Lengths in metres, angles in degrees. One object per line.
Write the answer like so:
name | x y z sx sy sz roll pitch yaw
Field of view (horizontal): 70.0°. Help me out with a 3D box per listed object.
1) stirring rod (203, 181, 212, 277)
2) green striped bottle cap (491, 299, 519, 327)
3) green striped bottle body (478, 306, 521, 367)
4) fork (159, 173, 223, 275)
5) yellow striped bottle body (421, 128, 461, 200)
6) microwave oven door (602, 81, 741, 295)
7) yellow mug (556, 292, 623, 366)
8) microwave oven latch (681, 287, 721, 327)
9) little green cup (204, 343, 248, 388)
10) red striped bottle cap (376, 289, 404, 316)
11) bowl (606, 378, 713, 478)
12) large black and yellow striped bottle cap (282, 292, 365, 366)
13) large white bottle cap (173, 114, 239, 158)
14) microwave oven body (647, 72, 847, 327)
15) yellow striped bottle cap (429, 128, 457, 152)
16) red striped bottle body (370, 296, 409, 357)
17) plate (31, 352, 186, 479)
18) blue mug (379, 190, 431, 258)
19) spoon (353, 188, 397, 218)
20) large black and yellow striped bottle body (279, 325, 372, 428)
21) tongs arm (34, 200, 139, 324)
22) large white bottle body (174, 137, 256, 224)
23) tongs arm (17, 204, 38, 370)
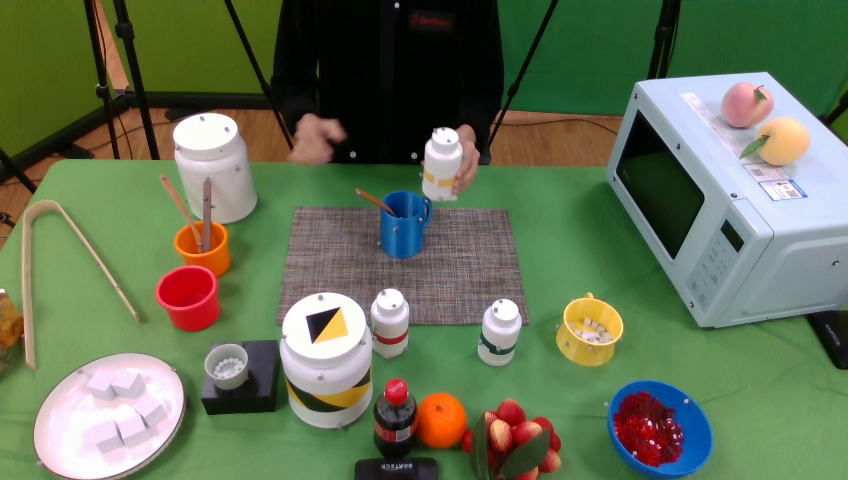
stirring rod | -0.396 -0.021 1.108 0.014 0.006 0.176 -1 89 -1
green striped bottle cap | 0.128 0.115 0.958 0.044 0.020 0.044 1 47 -1
green striped bottle body | 0.124 0.151 0.995 0.063 0.120 0.063 1 46 -1
fork | -0.426 -0.029 1.103 0.028 0.018 0.207 -31 99 -29
yellow striped bottle body | 0.029 -0.130 1.020 0.063 0.121 0.062 3 49 -3
microwave oven door | 0.456 -0.107 1.162 0.039 0.245 0.353 -6 47 -11
yellow mug | 0.285 0.145 1.051 0.100 0.064 0.130 7 45 3
microwave oven latch | 0.494 0.119 1.087 0.030 0.029 0.078 -6 46 -9
little green cup | -0.294 0.190 0.909 0.061 0.039 0.061 1 48 -1
red striped bottle cap | -0.054 0.098 0.958 0.044 0.018 0.044 0 48 1
bowl | 0.340 0.292 0.906 0.151 0.077 0.150 2 46 -2
large black and yellow striped bottle cap | -0.139 0.121 0.841 0.115 0.019 0.114 3 47 -3
large white bottle cap | -0.403 -0.195 1.122 0.115 0.018 0.114 2 47 -2
microwave oven body | 0.607 -0.089 1.164 0.326 0.261 0.438 -7 46 -10
yellow striped bottle cap | 0.031 -0.162 0.980 0.044 0.019 0.044 7 42 -6
red striped bottle body | -0.058 0.134 0.996 0.063 0.120 0.062 4 47 -4
plate | -0.459 0.262 0.898 0.209 0.038 0.208 2 45 -2
blue mug | -0.032 -0.037 1.169 0.116 0.106 0.082 -29 55 -28
spoon | -0.069 -0.053 1.121 0.021 0.195 0.041 -35 51 12
large black and yellow striped bottle body | -0.143 0.181 0.900 0.131 0.185 0.130 2 46 -2
tongs arm | -0.622 0.034 1.105 0.051 0.026 0.382 -32 56 -26
large white bottle body | -0.408 -0.136 1.183 0.131 0.185 0.130 2 46 -2
tongs arm | -0.698 0.069 1.068 0.028 0.028 0.385 -20 50 -13
